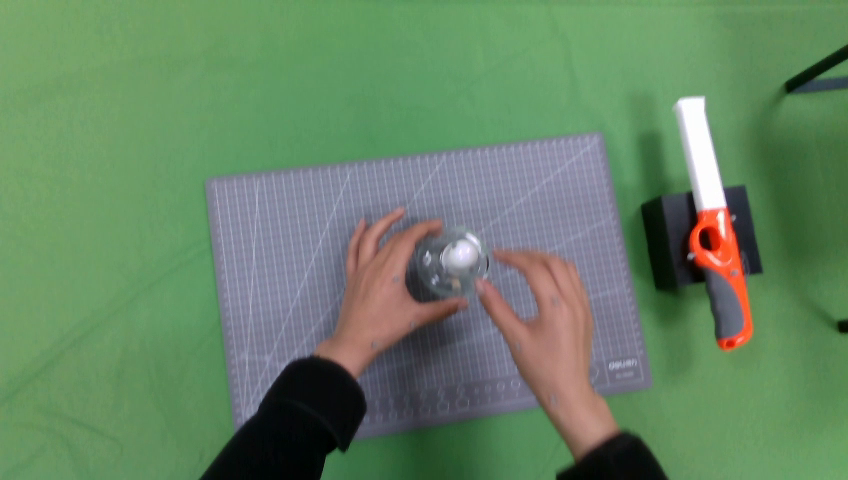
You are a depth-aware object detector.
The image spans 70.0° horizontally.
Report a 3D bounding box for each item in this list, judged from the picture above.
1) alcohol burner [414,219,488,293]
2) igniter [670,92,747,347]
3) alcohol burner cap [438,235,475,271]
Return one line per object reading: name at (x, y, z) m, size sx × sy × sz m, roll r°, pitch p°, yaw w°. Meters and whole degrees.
alcohol burner at (0.030, 0.014, 0.611) m, size 0.078 × 0.119 × 0.077 m, roll 1°, pitch 83°, yaw -7°
igniter at (0.304, -0.026, 0.648) m, size 0.057 × 0.025 × 0.275 m, roll -5°, pitch 80°, yaw -7°
alcohol burner cap at (0.033, 0.012, 0.581) m, size 0.034 × 0.048 × 0.033 m, roll 1°, pitch 81°, yaw -7°
